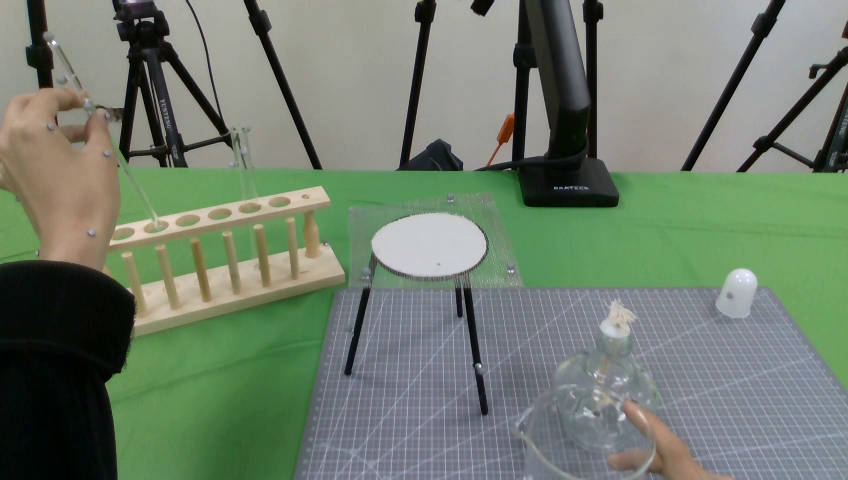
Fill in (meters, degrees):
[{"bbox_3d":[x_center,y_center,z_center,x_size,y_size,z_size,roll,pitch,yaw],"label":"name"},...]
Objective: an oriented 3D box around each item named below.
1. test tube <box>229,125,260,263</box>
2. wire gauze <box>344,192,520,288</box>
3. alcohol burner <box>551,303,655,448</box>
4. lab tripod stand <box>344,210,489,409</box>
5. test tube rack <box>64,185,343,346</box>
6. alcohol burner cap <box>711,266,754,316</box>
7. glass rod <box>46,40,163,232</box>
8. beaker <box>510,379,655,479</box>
[{"bbox_3d":[-0.175,-0.041,0.603,0.017,0.151,0.017,1,31,0],"label":"test tube"},{"bbox_3d":[0.001,-0.001,0.461,0.125,0.011,0.120,-4,34,-4],"label":"wire gauze"},{"bbox_3d":[0.135,0.097,0.452,0.078,0.120,0.077,0,32,1],"label":"alcohol burner"},{"bbox_3d":[0.002,0.054,0.499,0.148,0.132,0.147,-1,36,1],"label":"lab tripod stand"},{"bbox_3d":[-0.209,0.020,0.601,0.243,0.086,0.066,-14,36,-19],"label":"test tube rack"},{"bbox_3d":[0.302,0.047,0.590,0.034,0.048,0.033,0,34,0],"label":"alcohol burner cap"},{"bbox_3d":[-0.246,-0.069,0.478,0.008,0.201,0.008,0,53,1],"label":"glass rod"},{"bbox_3d":[0.095,0.150,0.385,0.084,0.101,0.073,3,34,7],"label":"beaker"}]
